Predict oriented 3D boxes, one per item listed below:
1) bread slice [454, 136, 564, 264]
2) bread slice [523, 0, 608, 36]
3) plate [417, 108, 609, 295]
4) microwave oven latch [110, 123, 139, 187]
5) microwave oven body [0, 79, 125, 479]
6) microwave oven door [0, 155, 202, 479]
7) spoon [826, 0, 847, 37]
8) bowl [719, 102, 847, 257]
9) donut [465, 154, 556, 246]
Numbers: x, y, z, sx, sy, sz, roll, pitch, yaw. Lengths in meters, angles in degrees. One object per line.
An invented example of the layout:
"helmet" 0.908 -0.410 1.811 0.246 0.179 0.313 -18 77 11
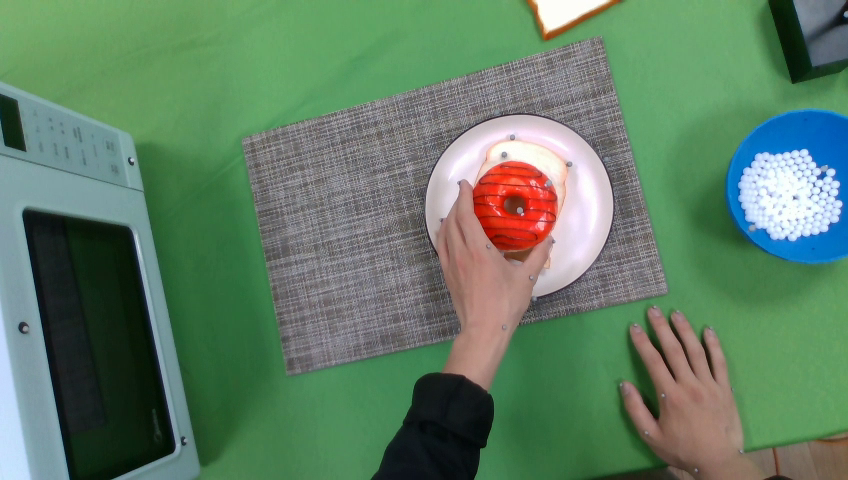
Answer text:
"bread slice" 0.099 -0.049 0.679 0.107 0.018 0.134 12 89 10
"bread slice" 0.152 -0.316 0.701 0.105 0.019 0.131 -28 83 6
"plate" 0.098 -0.041 0.678 0.207 0.039 0.207 -1 86 9
"microwave oven latch" -0.379 -0.102 0.749 0.030 0.029 0.079 -15 85 8
"microwave oven body" -0.493 0.099 0.657 0.326 0.261 0.440 -15 84 8
"microwave oven door" -0.344 0.101 0.627 0.039 0.244 0.354 -16 84 9
"spoon" 0.405 -0.238 0.563 0.021 0.195 0.041 -12 82 23
"bowl" 0.371 -0.055 0.616 0.151 0.077 0.151 -1 86 10
"donut" 0.093 -0.042 0.651 0.099 0.048 0.099 -1 87 10
